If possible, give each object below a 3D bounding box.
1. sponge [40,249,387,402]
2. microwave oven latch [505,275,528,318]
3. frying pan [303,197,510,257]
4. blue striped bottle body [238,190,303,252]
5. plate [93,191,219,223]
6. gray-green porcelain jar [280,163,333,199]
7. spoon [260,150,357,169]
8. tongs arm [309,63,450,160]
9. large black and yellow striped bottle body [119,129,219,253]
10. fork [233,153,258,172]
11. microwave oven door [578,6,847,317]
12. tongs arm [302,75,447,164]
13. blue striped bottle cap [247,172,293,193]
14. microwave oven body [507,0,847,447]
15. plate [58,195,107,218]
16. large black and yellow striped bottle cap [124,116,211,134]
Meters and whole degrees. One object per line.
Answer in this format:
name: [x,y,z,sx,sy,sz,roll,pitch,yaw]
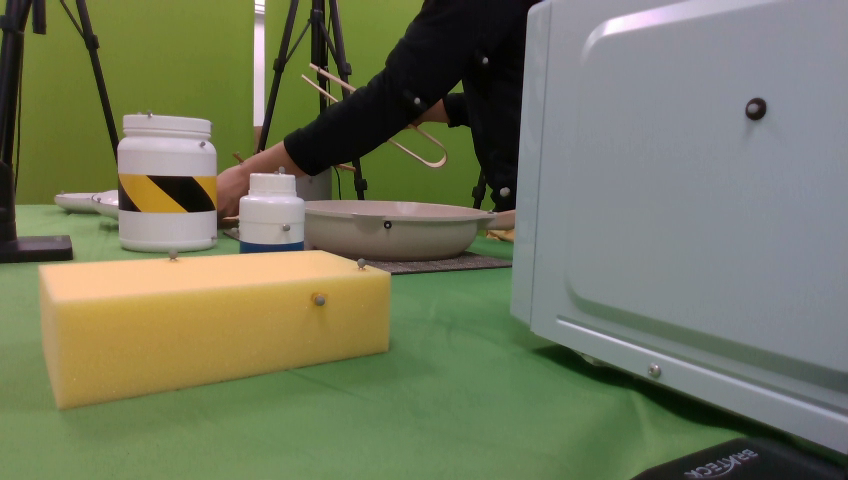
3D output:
sponge: [-0.142,0.047,0.420,0.208,0.061,0.117,-3,8,-36]
microwave oven latch: [0.100,0.041,0.471,0.079,0.029,0.030,-2,8,-29]
frying pan: [0.051,-0.035,0.915,0.487,0.102,0.307,-5,7,10]
blue striped bottle body: [-0.153,-0.007,0.606,0.063,0.120,0.063,2,7,0]
plate: [-0.483,-0.059,1.099,0.208,0.039,0.207,3,14,0]
gray-green porcelain jar: [-0.238,-0.092,1.220,0.106,0.126,0.106,2,7,0]
spoon: [-0.231,-0.162,1.221,0.194,0.021,0.041,3,1,-16]
tongs arm: [-0.097,-0.291,1.398,0.386,0.050,0.026,24,20,-21]
large black and yellow striped bottle body: [-0.367,-0.080,0.876,0.131,0.184,0.130,2,8,0]
fork: [-0.396,-0.143,1.486,0.028,0.018,0.208,21,-25,45]
microwave oven door: [0.294,-0.067,0.570,0.358,0.243,0.039,-3,9,-31]
tongs arm: [-0.110,-0.274,1.404,0.389,0.028,0.027,29,15,-23]
blue striped bottle cap: [-0.152,-0.057,0.598,0.044,0.020,0.044,3,7,0]
microwave oven body: [0.331,-0.042,0.425,0.444,0.260,0.324,-2,8,-31]
plate: [-0.671,-0.074,1.310,0.209,0.038,0.209,2,8,0]
large black and yellow striped bottle cap: [-0.366,-0.163,0.866,0.115,0.019,0.115,3,7,0]
